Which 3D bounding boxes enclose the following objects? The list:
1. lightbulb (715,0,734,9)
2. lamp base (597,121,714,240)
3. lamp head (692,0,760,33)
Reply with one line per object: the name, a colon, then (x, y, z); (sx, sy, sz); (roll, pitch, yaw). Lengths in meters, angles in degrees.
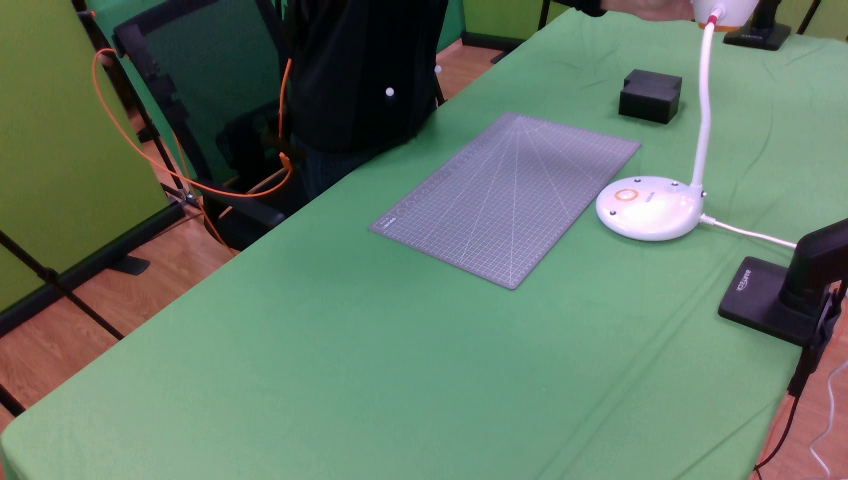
lightbulb: (0.436, -0.387, 0.865); (0.059, 0.108, 0.059); (-4, 30, 3)
lamp base: (0.364, -0.110, 0.921); (0.178, 0.181, 0.160); (13, 45, 21)
lamp head: (0.438, -0.363, 0.873); (0.112, 0.123, 0.112); (2, 27, -1)
